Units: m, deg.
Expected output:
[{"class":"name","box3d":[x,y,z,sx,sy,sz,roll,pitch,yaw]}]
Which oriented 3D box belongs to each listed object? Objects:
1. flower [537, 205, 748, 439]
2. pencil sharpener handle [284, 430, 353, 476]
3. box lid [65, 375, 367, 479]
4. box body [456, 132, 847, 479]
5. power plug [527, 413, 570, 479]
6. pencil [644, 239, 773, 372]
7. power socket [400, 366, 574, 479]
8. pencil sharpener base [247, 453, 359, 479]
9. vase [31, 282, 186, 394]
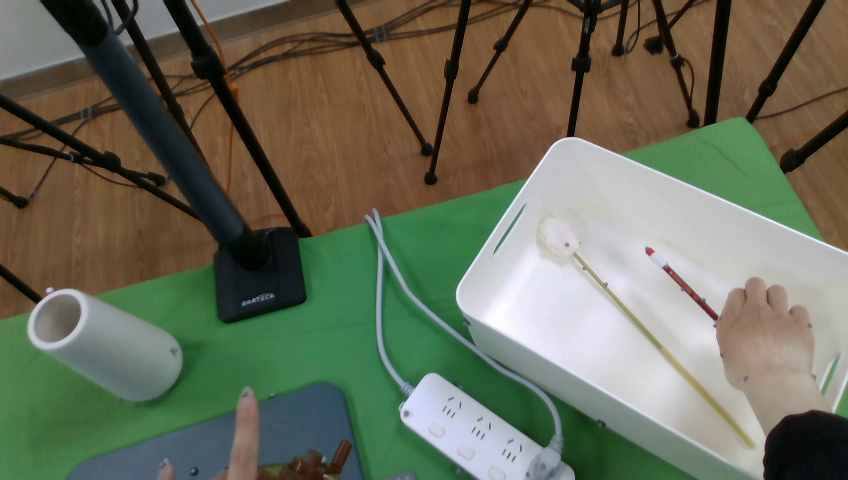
[{"class":"flower","box3d":[0.266,0.096,0.752,0.044,0.038,0.359,-41,69,9]},{"class":"pencil sharpener handle","box3d":[-0.080,0.166,0.482,0.035,0.068,0.030,20,78,25]},{"class":"box lid","box3d":[-0.242,0.331,0.715,0.371,0.015,0.260,-18,63,-1]},{"class":"box body","box3d":[0.252,0.076,0.688,0.362,0.162,0.253,28,71,20]},{"class":"power plug","box3d":[0.146,0.234,0.671,0.072,0.053,0.035,-40,62,-16]},{"class":"pencil","box3d":[0.316,0.070,0.681,0.012,0.012,0.192,-32,63,-8]},{"class":"power socket","box3d":[0.071,0.232,0.709,0.225,0.033,0.072,32,71,21]},{"class":"pencil sharpener base","box3d":[-0.101,0.214,0.485,0.061,0.108,0.076,22,79,18]},{"class":"vase","box3d":[-0.372,0.120,0.733,0.098,0.202,0.097,-3,62,6]}]
